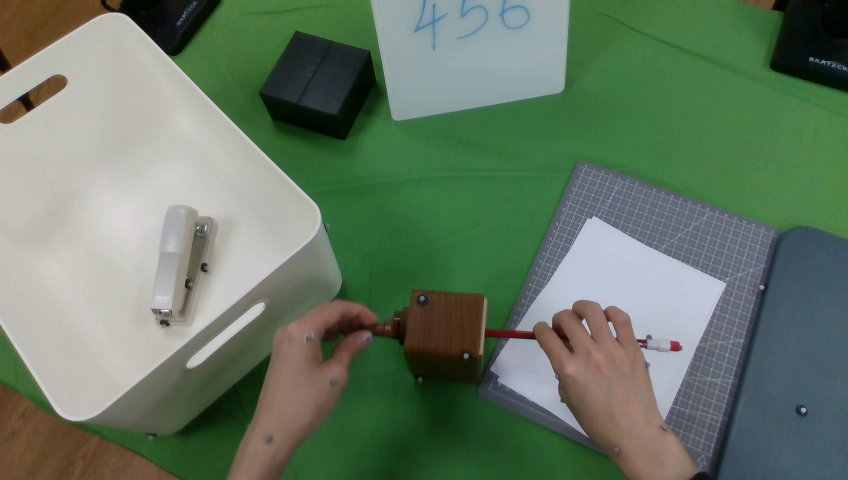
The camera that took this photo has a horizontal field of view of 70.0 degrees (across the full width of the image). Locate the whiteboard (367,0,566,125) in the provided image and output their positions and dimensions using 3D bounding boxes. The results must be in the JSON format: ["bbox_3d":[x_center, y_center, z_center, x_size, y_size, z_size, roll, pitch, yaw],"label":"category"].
[{"bbox_3d":[0.039,-0.314,0.686,0.217,0.308,0.142,-9,45,0],"label":"whiteboard"}]

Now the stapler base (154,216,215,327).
[{"bbox_3d":[-0.263,0.029,0.660,0.041,0.024,0.129,2,67,7],"label":"stapler base"}]

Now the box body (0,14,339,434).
[{"bbox_3d":[-0.289,-0.017,0.612,0.254,0.161,0.361,-42,70,-15],"label":"box body"}]

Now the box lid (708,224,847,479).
[{"bbox_3d":[0.427,0.173,0.567,0.262,0.015,0.370,22,69,12],"label":"box lid"}]

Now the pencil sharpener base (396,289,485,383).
[{"bbox_3d":[0.017,0.093,0.575,0.076,0.108,0.061,4,66,6],"label":"pencil sharpener base"}]

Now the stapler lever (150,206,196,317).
[{"bbox_3d":[-0.264,0.020,0.635,0.027,0.040,0.117,2,68,7],"label":"stapler lever"}]

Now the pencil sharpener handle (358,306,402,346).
[{"bbox_3d":[-0.037,0.075,0.539,0.030,0.068,0.036,4,83,6],"label":"pencil sharpener handle"}]

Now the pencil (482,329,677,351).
[{"bbox_3d":[0.126,0.086,0.530,0.194,0.012,0.012,4,65,-2],"label":"pencil"}]
